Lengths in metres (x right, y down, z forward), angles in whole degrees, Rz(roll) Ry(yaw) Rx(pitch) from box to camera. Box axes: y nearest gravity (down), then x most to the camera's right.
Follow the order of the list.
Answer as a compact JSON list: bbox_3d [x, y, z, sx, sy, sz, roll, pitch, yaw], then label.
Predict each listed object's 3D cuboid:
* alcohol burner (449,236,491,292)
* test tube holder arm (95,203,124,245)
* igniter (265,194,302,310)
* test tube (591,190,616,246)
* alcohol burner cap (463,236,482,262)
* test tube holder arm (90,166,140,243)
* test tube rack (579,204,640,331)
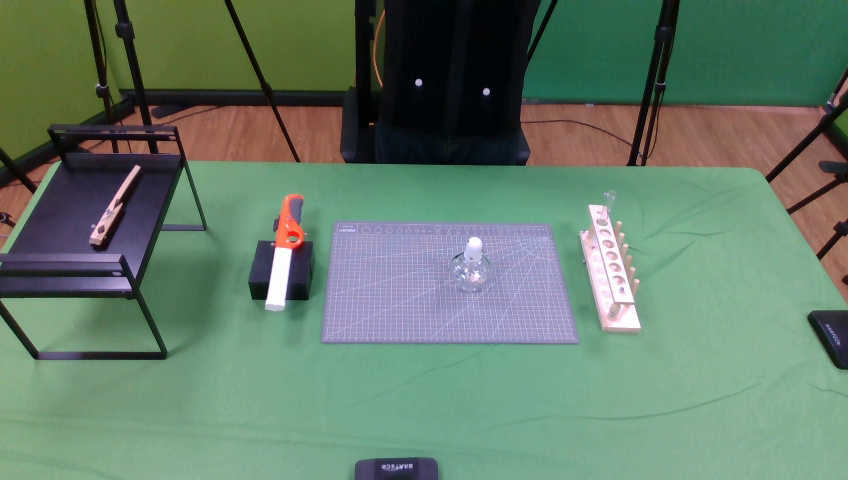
[{"bbox_3d":[0.086,0.038,1.101,0.078,0.119,0.077,3,45,-2],"label":"alcohol burner"},{"bbox_3d":[-0.488,-0.027,0.940,0.010,0.015,0.087,29,38,-23],"label":"test tube holder arm"},{"bbox_3d":[-0.253,0.011,1.099,0.057,0.025,0.274,9,46,-12],"label":"igniter"},{"bbox_3d":[0.338,-0.038,1.148,0.017,0.151,0.017,0,51,0],"label":"test tube"},{"bbox_3d":[0.088,0.014,1.075,0.034,0.048,0.033,1,52,-1],"label":"alcohol burner cap"},{"bbox_3d":[-0.492,-0.061,0.970,0.013,0.015,0.177,28,39,-24],"label":"test tube holder arm"},{"bbox_3d":[0.353,0.047,1.137,0.067,0.085,0.241,2,46,-2],"label":"test tube rack"}]
